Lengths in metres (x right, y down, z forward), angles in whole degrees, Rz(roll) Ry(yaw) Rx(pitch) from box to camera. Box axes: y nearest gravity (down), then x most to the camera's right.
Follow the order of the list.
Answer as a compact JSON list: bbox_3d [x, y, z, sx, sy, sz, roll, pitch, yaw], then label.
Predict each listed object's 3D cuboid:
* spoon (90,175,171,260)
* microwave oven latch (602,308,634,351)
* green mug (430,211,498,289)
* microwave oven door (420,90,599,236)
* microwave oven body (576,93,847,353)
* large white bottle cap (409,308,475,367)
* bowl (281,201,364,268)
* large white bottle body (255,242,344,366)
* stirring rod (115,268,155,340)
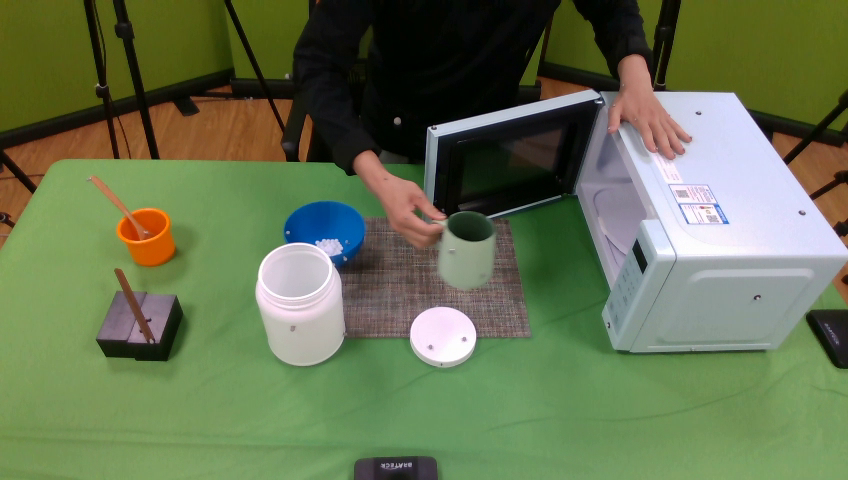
[{"bbox_3d":[-0.539,-0.042,1.111,0.041,0.194,0.021,-46,19,-32],"label":"spoon"},{"bbox_3d":[0.332,0.153,1.044,0.030,0.029,0.078,-1,45,-4],"label":"microwave oven latch"},{"bbox_3d":[0.061,0.010,0.985,0.125,0.105,0.092,28,46,26],"label":"green mug"},{"bbox_3d":[0.164,-0.150,1.184,0.356,0.245,0.039,-17,49,-19],"label":"microwave oven door"},{"bbox_3d":[0.475,-0.041,1.109,0.326,0.261,0.438,-1,45,-4],"label":"microwave oven body"},{"bbox_3d":[0.031,0.165,1.041,0.115,0.018,0.114,2,46,-2],"label":"large white bottle cap"},{"bbox_3d":[-0.187,0.005,1.137,0.151,0.077,0.150,3,46,-3],"label":"bowl"},{"bbox_3d":[-0.196,0.102,0.968,0.131,0.185,0.130,2,50,-2],"label":"large white bottle body"},{"bbox_3d":[-0.479,0.103,0.999,0.014,0.006,0.175,8,32,-49],"label":"stirring rod"}]
